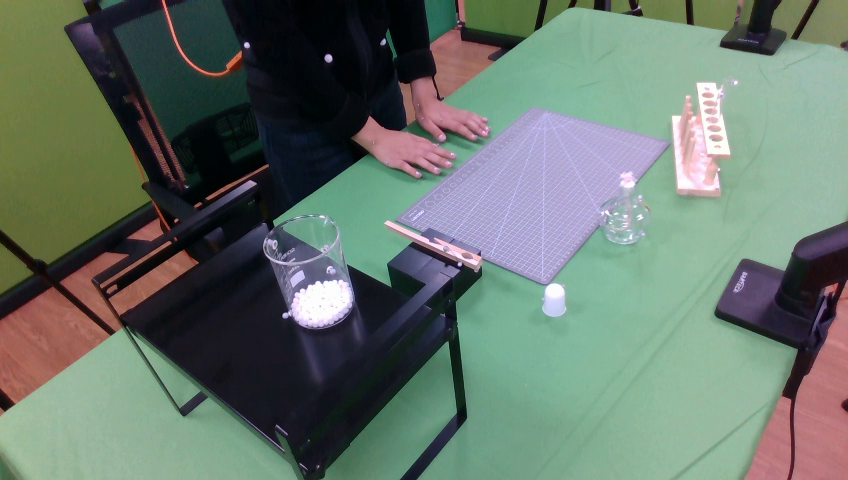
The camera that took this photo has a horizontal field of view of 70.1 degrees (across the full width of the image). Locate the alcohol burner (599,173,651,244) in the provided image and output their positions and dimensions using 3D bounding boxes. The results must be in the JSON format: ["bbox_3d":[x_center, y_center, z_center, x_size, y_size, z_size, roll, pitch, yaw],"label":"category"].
[{"bbox_3d":[0.307,-0.052,0.920,0.078,0.119,0.077,-6,42,6],"label":"alcohol burner"}]

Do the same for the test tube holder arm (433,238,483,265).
[{"bbox_3d":[0.047,0.017,0.876,0.087,0.015,0.010,21,50,31],"label":"test tube holder arm"}]

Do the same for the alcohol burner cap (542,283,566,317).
[{"bbox_3d":[0.181,0.081,0.840,0.034,0.048,0.033,-3,40,3],"label":"alcohol burner cap"}]

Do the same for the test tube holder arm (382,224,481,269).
[{"bbox_3d":[0.007,0.007,0.896,0.177,0.015,0.013,20,50,30],"label":"test tube holder arm"}]

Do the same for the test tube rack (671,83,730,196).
[{"bbox_3d":[0.482,-0.184,1.067,0.066,0.085,0.242,6,42,15],"label":"test tube rack"}]

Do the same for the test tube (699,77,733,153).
[{"bbox_3d":[0.489,-0.207,1.017,0.017,0.151,0.017,-2,48,3],"label":"test tube"}]

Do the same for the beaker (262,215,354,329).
[{"bbox_3d":[-0.112,0.034,0.616,0.073,0.101,0.084,13,44,23],"label":"beaker"}]
